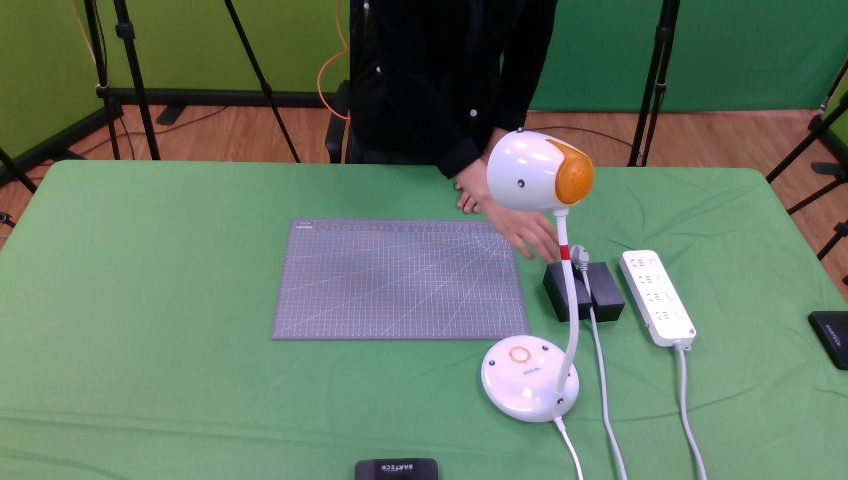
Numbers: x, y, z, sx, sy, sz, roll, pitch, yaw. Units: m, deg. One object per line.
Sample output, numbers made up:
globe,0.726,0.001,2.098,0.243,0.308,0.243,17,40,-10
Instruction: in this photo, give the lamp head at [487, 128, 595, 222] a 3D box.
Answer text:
lamp head,0.160,-0.084,0.791,0.112,0.113,0.122,-24,28,-25

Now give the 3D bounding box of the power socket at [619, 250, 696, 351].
power socket,0.428,0.103,1.121,0.072,0.033,0.225,-3,46,-6

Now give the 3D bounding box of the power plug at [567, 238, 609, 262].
power plug,0.305,0.019,1.130,0.073,0.052,0.035,-10,92,-20

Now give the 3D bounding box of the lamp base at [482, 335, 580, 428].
lamp base,0.185,0.177,0.928,0.161,0.181,0.178,-22,53,-23
